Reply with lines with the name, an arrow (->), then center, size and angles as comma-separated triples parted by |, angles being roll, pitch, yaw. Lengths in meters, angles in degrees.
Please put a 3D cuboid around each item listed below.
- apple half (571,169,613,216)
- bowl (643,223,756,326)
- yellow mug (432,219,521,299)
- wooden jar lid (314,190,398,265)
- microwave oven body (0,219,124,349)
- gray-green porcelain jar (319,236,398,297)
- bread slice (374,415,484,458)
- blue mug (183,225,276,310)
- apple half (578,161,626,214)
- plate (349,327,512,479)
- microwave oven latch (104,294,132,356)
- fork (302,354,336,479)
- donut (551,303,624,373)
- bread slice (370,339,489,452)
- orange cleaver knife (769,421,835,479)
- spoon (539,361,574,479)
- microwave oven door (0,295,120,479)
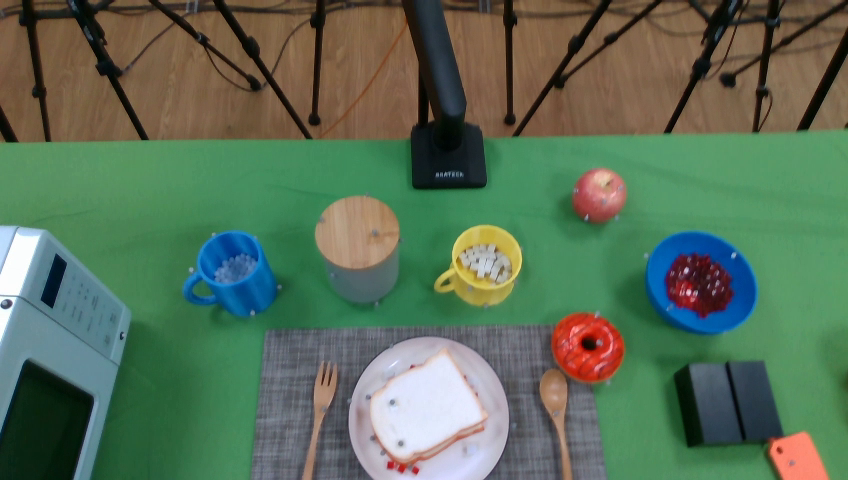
apple half -> 0.245, -0.064, 0.917 | 0.033, 0.082, 0.080 | -31, 68, -21
bowl -> 0.377, 0.059, 0.860 | 0.151, 0.077, 0.150 | 1, 64, -1
yellow mug -> 0.072, 0.034, 0.868 | 0.131, 0.064, 0.099 | -23, 67, -12
wooden jar lid -> -0.087, -0.014, 0.782 | 0.108, 0.021, 0.107 | 1, 61, -1
microwave oven body -> -0.562, 0.221, 0.635 | 0.326, 0.262, 0.438 | 2, 64, -2
gray-green porcelain jar -> -0.089, 0.014, 0.837 | 0.106, 0.127, 0.105 | 1, 63, -2
bread slice -> 0.000, 0.219, 0.786 | 0.131, 0.019, 0.104 | -26, 68, -16
blue mug -> -0.268, 0.046, 0.825 | 0.116, 0.106, 0.081 | -24, 66, -13
apple half -> 0.276, -0.083, 0.930 | 0.053, 0.075, 0.080 | -30, 64, -22
plate -> 0.009, 0.217, 0.785 | 0.208, 0.039, 0.206 | 1, 63, -2
microwave oven latch -> -0.412, 0.113, 0.803 | 0.030, 0.030, 0.078 | 3, 64, -1
fork -> -0.139, 0.247, 0.774 | 0.028, 0.019, 0.205 | 10, 62, -6
donut -> 0.223, 0.134, 0.831 | 0.099, 0.048, 0.098 | 1, 64, -2
bread slice -> 0.001, 0.203, 0.763 | 0.134, 0.018, 0.106 | -29, 65, -17
orange cleaver knife -> 0.493, 0.334, 0.760 | 0.077, 0.012, 0.209 | 3, 62, -8
spoon -> 0.177, 0.253, 0.781 | 0.042, 0.022, 0.192 | 8, 60, -23
microwave oven door -> -0.416, 0.261, 0.615 | 0.039, 0.245, 0.353 | 2, 63, -1
